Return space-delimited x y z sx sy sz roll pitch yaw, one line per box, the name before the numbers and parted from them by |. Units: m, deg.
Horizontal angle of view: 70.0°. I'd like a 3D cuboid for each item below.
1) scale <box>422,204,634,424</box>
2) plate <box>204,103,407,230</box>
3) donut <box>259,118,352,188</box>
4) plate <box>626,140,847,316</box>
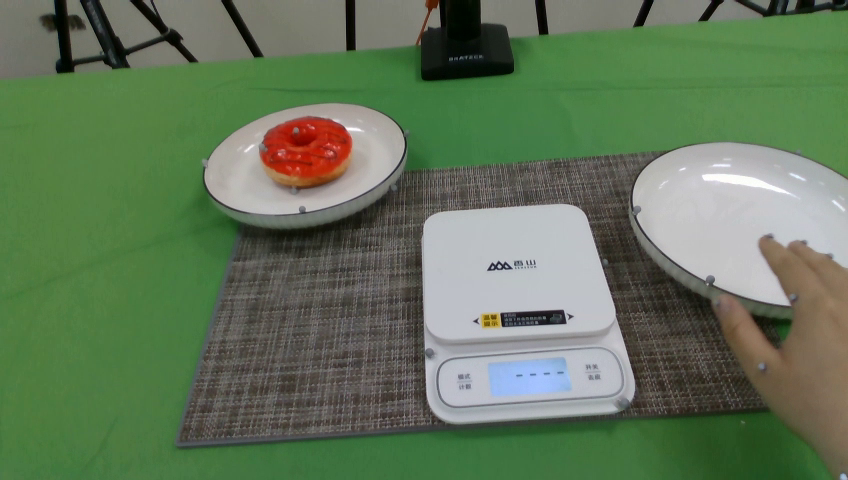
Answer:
scale | 0.074 0.048 0.486 0.148 0.032 0.199 -5 44 3
plate | -0.120 -0.076 0.635 0.209 0.038 0.207 -4 42 4
donut | -0.123 -0.092 0.636 0.099 0.049 0.098 -3 42 3
plate | 0.279 -0.012 0.522 0.207 0.039 0.205 -1 44 2
